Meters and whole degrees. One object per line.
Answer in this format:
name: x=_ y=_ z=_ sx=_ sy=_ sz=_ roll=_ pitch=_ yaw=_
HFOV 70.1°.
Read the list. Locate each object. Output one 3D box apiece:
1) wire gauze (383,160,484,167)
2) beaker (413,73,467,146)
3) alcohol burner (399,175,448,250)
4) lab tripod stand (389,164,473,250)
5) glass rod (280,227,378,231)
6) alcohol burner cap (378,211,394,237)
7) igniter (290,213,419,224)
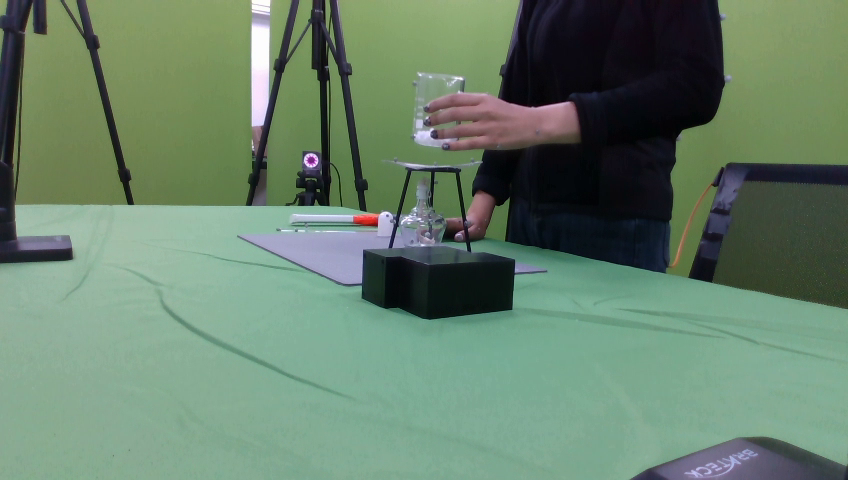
wire gauze: x=0.011 y=-0.120 z=0.951 sx=0.122 sy=0.011 sz=0.124 roll=-4 pitch=9 yaw=-32
beaker: x=0.023 y=-0.192 z=0.890 sx=0.074 sy=0.100 sz=0.084 roll=11 pitch=15 yaw=21
alcohol burner: x=-0.001 y=-0.044 z=0.962 sx=0.078 sy=0.119 sz=0.078 roll=0 pitch=8 yaw=0
lab tripod stand: x=0.011 y=-0.054 z=0.961 sx=0.148 sy=0.131 sz=0.148 roll=2 pitch=9 yaw=0
glass rod: x=-0.175 y=-0.021 z=1.161 sx=0.200 sy=0.008 sz=0.008 roll=0 pitch=7 yaw=-15
alcohol burner cap: x=-0.069 y=-0.030 z=1.112 sx=0.034 sy=0.048 sz=0.034 roll=1 pitch=9 yaw=0
igniter: x=-0.143 y=-0.046 z=1.288 sx=0.278 sy=0.025 sz=0.057 roll=-1 pitch=-3 yaw=-24
